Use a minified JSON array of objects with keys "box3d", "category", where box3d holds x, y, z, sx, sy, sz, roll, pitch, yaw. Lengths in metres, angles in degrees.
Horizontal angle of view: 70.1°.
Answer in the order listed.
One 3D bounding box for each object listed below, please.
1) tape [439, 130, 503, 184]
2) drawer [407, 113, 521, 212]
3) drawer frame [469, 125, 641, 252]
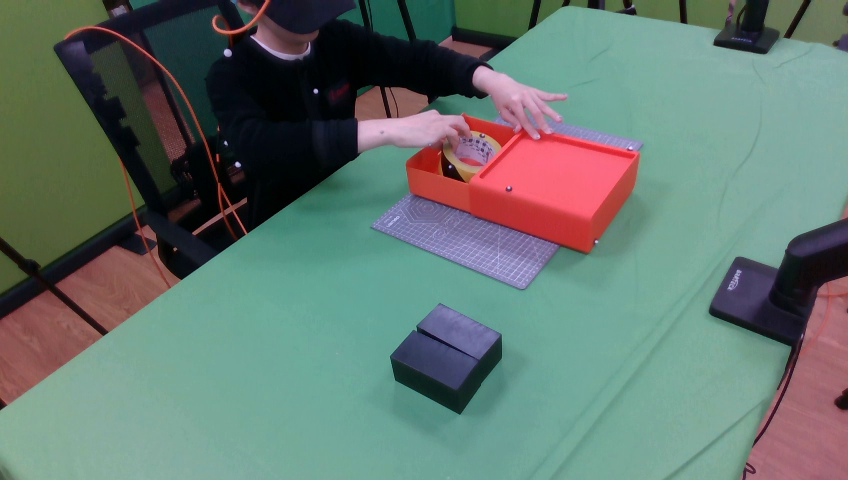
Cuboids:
[{"box3d":[0.085,-0.137,1.058,0.117,0.053,0.116,6,50,-7],"category":"tape"},{"box3d":[0.111,-0.131,1.066,0.210,0.073,0.195,21,47,29],"category":"drawer"},{"box3d":[0.216,-0.093,1.003,0.212,0.083,0.202,20,47,28],"category":"drawer frame"}]
